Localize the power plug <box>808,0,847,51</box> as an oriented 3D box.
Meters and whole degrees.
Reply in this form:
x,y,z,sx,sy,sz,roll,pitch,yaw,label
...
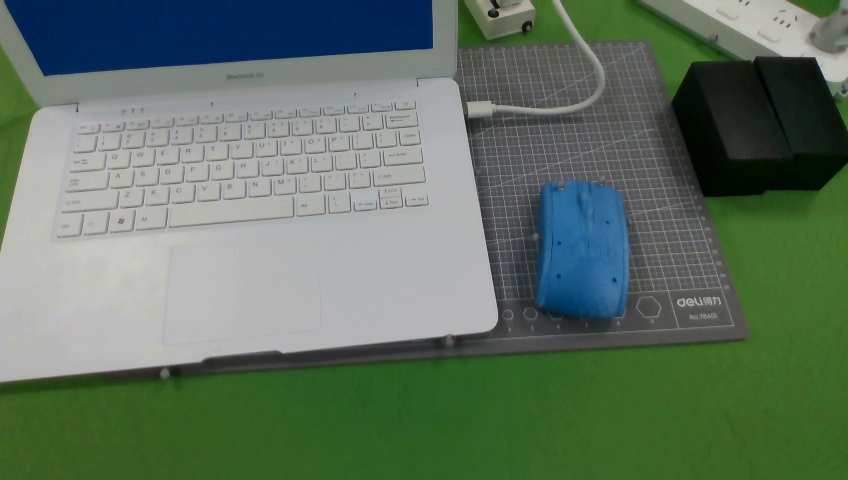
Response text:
x,y,z,sx,sy,sz,roll,pitch,yaw,label
0.373,-0.191,0.536,0.072,0.053,0.035,-33,65,-16,power plug

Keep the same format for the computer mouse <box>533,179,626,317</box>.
x,y,z,sx,sy,sz,roll,pitch,yaw,label
0.114,0.001,0.443,0.063,0.041,0.116,7,56,5,computer mouse

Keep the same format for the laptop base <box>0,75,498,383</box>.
x,y,z,sx,sy,sz,roll,pitch,yaw,label
-0.135,-0.021,0.464,0.355,0.023,0.233,-5,65,-4,laptop base

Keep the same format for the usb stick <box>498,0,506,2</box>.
x,y,z,sx,sy,sz,roll,pitch,yaw,label
0.075,-0.236,0.547,0.027,0.059,0.021,-27,73,-7,usb stick

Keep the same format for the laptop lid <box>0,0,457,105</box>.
x,y,z,sx,sy,sz,roll,pitch,yaw,label
-0.150,-0.205,0.431,0.357,0.244,0.013,-6,48,-3,laptop lid

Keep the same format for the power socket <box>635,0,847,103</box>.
x,y,z,sx,sy,sz,roll,pitch,yaw,label
0.299,-0.207,0.568,0.225,0.033,0.072,40,67,19,power socket

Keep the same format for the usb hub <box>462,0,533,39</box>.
x,y,z,sx,sy,sz,roll,pitch,yaw,label
0.057,-0.251,0.591,0.049,0.025,0.124,-18,63,-11,usb hub
